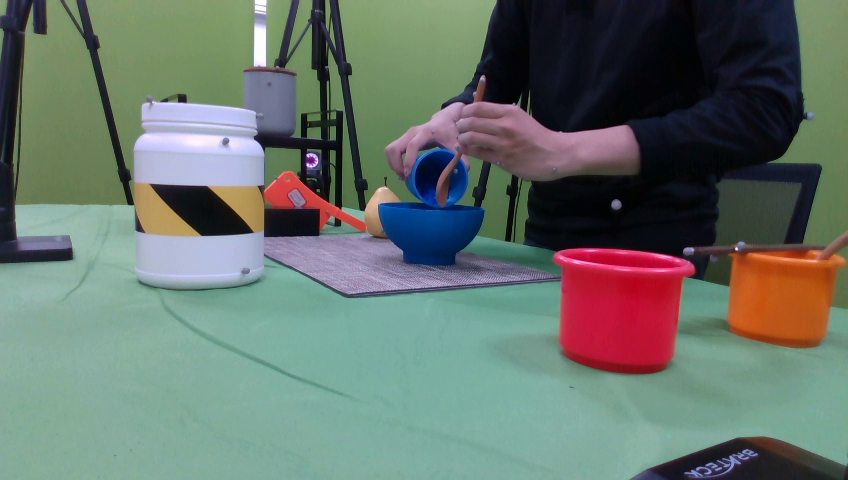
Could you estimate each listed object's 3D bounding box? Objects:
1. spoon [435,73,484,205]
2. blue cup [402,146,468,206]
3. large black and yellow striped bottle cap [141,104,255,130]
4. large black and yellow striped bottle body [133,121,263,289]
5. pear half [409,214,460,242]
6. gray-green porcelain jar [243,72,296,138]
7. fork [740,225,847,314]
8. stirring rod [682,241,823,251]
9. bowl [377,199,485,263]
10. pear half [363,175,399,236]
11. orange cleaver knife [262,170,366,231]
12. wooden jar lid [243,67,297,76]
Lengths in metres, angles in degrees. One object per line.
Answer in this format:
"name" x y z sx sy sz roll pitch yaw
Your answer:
"spoon" 0.048 -0.129 0.800 0.021 0.193 0.042 29 35 9
"blue cup" 0.009 -0.098 0.910 0.093 0.092 0.100 0 8 -17
"large black and yellow striped bottle cap" -0.241 -0.131 0.650 0.115 0.019 0.115 3 8 0
"large black and yellow striped bottle body" -0.243 -0.048 0.659 0.131 0.184 0.130 2 7 0
"pear half" 0.012 -0.020 0.848 0.070 0.031 0.088 2 11 33
"gray-green porcelain jar" -0.322 -0.279 1.263 0.106 0.126 0.106 3 8 0
"fork" 0.323 0.013 0.485 0.028 0.018 0.207 8 -38 -5
"stirring rod" 0.290 0.005 0.525 0.177 0.006 0.014 -1 5 -26
"bowl" 0.008 -0.013 0.842 0.151 0.077 0.151 2 8 0
"pear half" -0.064 -0.061 1.077 0.055 0.110 0.077 9 14 39
"orange cleaver knife" -0.201 -0.057 1.136 0.212 0.077 0.012 31 -3 -31
"wooden jar lid" -0.319 -0.342 1.254 0.108 0.020 0.108 3 8 0
